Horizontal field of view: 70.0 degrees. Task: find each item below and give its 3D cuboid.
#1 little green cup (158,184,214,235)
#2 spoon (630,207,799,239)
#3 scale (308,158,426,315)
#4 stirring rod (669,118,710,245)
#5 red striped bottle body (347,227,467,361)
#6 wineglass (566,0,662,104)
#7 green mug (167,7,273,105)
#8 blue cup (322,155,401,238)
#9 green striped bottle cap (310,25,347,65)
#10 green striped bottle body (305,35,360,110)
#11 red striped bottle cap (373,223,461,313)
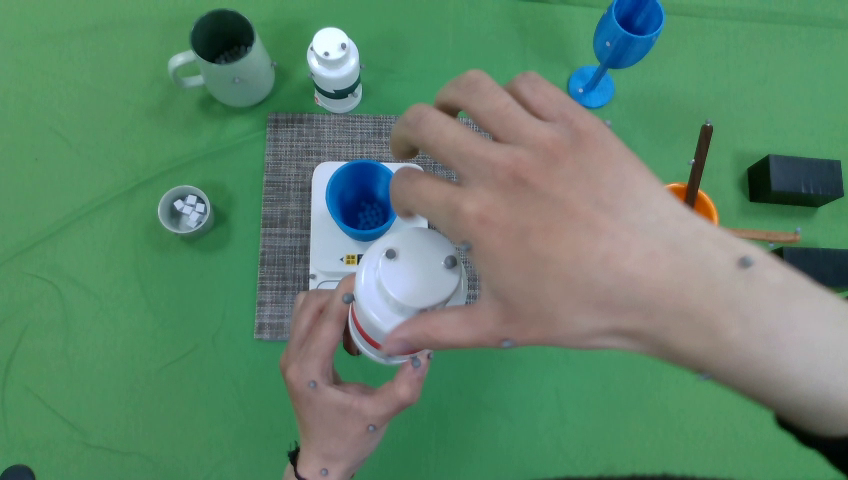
[{"bbox_3d":[-0.294,-0.036,0.757,0.061,0.039,0.061,1,77,-5],"label":"little green cup"},{"bbox_3d":[0.347,-0.016,0.741,0.022,0.192,0.041,21,80,-43],"label":"spoon"},{"bbox_3d":[-0.071,-0.007,0.766,0.149,0.031,0.200,0,77,-4],"label":"scale"},{"bbox_3d":[0.328,-0.067,0.751,0.014,0.177,0.006,6,36,11],"label":"stirring rod"},{"bbox_3d":[-0.013,0.033,0.362,0.063,0.120,0.062,3,70,-9],"label":"red striped bottle body"},{"bbox_3d":[0.236,-0.242,0.772,0.074,0.173,0.073,1,76,-3],"label":"wineglass"},{"bbox_3d":[-0.261,-0.226,0.770,0.125,0.105,0.092,-21,79,-8],"label":"green mug"},{"bbox_3d":[-0.072,-0.042,0.707,0.093,0.100,0.092,1,79,-6],"label":"blue cup"},{"bbox_3d":[-0.113,-0.232,0.720,0.044,0.020,0.044,1,76,-4],"label":"green striped bottle cap"},{"bbox_3d":[-0.116,-0.219,0.770,0.063,0.119,0.063,1,76,-3],"label":"green striped bottle body"},{"bbox_3d":[-0.003,0.014,0.310,0.045,0.018,0.044,4,68,-9],"label":"red striped bottle cap"}]
